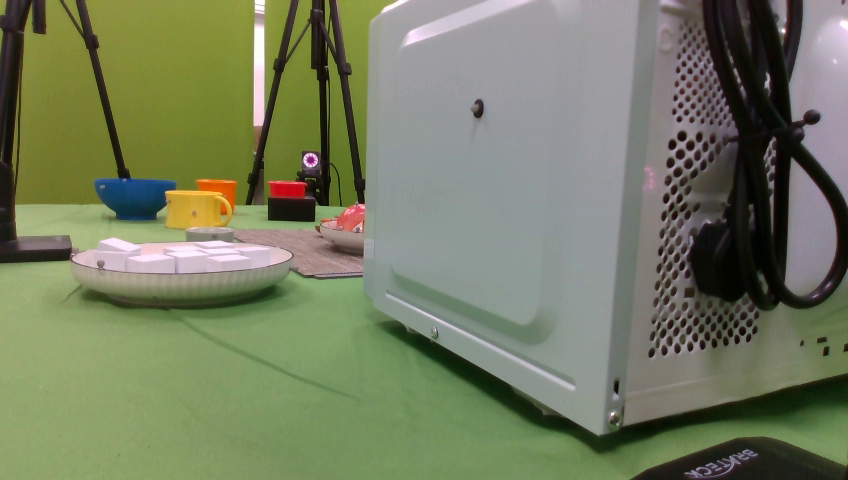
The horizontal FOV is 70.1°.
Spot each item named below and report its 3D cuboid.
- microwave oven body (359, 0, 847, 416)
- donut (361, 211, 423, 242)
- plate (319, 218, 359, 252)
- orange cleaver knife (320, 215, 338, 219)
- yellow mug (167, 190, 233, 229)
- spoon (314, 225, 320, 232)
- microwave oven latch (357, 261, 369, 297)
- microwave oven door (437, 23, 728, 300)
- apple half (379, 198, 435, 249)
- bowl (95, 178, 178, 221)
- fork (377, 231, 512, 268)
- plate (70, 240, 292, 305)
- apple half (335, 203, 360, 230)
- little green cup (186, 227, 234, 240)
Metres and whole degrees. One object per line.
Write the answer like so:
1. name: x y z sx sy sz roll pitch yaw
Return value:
1. microwave oven body: 0.211 -0.047 0.474 0.444 0.260 0.324 -1 7 -28
2. donut: -0.050 -0.020 0.958 0.099 0.048 0.099 4 7 0
3. plate: -0.058 -0.007 0.939 0.209 0.038 0.209 3 8 0
4. orange cleaver knife: -0.142 -0.057 1.394 0.077 0.012 0.212 3 7 44
5. yellow mug: -0.415 -0.057 1.132 0.130 0.064 0.100 6 8 16
6. spoon: -0.112 -0.024 1.099 0.195 0.021 0.041 -7 1 -41
7. microwave oven latch: -0.019 0.033 0.531 0.079 0.029 0.030 -1 7 -27
8. microwave oven door: 0.181 -0.072 0.621 0.358 0.243 0.039 -2 8 -29
9. apple half: -0.020 -0.030 0.891 0.081 0.053 0.074 -2 49 -26
10. bowl: -0.576 -0.081 1.217 0.151 0.077 0.151 4 8 0
11. fork: 0.033 0.010 0.812 0.208 0.018 0.028 -16 17 -26
12. plate: -0.242 0.031 0.618 0.208 0.039 0.207 2 8 0
13. apple half: -0.116 -0.038 0.959 0.081 0.033 0.081 -38 8 7
14. little green cup: -0.285 0.005 0.805 0.061 0.038 0.061 2 8 0
